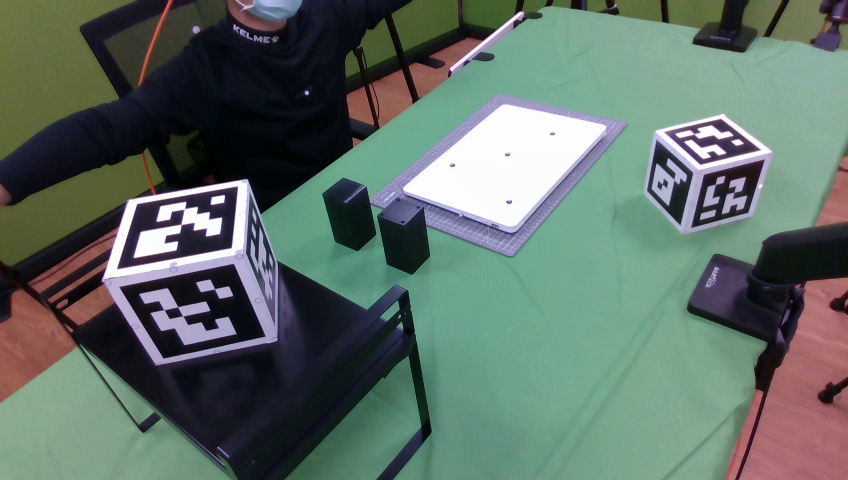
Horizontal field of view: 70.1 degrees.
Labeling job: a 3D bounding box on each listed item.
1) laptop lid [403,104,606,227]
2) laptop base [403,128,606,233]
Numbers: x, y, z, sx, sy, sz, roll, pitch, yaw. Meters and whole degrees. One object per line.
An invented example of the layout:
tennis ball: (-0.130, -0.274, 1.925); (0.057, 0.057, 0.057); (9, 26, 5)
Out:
laptop lid: (0.153, -0.154, 1.110); (0.240, 0.013, 0.358); (22, 48, 33)
laptop base: (0.156, -0.144, 1.116); (0.233, 0.023, 0.355); (20, 47, 32)
